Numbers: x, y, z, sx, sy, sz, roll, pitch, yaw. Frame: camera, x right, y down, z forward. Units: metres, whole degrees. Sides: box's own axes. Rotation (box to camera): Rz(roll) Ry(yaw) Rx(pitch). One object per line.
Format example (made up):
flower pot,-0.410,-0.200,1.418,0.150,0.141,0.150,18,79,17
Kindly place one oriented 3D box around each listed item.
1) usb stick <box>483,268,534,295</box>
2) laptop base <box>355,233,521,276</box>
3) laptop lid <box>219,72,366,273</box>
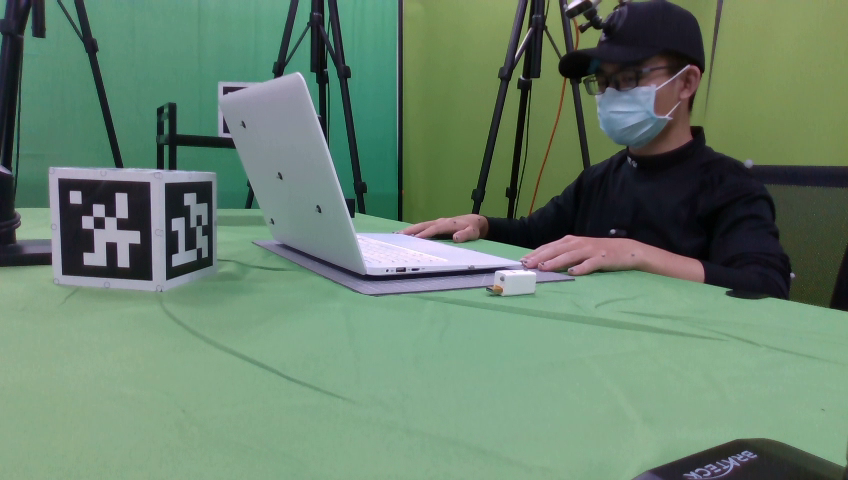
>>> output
usb stick,0.093,0.046,0.673,0.059,0.027,0.021,-5,14,-30
laptop base,-0.056,0.018,0.898,0.237,0.023,0.352,2,6,-32
laptop lid,-0.189,-0.087,0.800,0.013,0.242,0.355,-26,21,-26
